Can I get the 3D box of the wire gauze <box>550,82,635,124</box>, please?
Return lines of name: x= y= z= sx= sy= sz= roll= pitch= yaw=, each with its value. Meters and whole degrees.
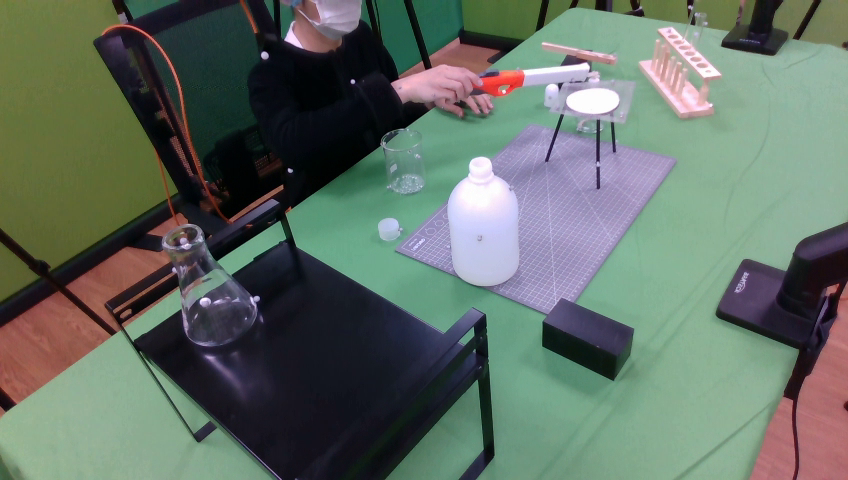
wire gauze: x=0.285 y=-0.236 z=1.020 sx=0.124 sy=0.011 sz=0.121 roll=10 pitch=44 yaw=22

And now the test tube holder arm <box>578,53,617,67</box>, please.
test tube holder arm: x=0.376 y=-0.393 z=1.314 sx=0.087 sy=0.015 sz=0.010 roll=26 pitch=51 yaw=32

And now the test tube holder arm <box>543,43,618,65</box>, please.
test tube holder arm: x=0.345 y=-0.413 z=1.341 sx=0.177 sy=0.015 sz=0.013 roll=25 pitch=50 yaw=31

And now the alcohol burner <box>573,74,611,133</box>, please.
alcohol burner: x=0.330 y=-0.270 z=1.177 sx=0.078 sy=0.119 sz=0.077 roll=-4 pitch=43 yaw=4

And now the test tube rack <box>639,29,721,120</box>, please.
test tube rack: x=0.527 y=-0.351 z=1.262 sx=0.067 sy=0.085 sz=0.241 roll=-8 pitch=40 yaw=1

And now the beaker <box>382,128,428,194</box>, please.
beaker: x=-0.030 y=-0.142 z=1.095 sx=0.073 sy=0.101 sz=0.084 roll=14 pitch=44 yaw=23

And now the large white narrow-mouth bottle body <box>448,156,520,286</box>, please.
large white narrow-mouth bottle body: x=0.086 y=-0.032 z=0.869 sx=0.102 sy=0.195 sz=0.101 roll=-4 pitch=40 yaw=4

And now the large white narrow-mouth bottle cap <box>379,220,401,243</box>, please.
large white narrow-mouth bottle cap: x=-0.057 y=-0.015 z=1.011 sx=0.038 sy=0.024 sz=0.037 roll=-4 pitch=40 yaw=4

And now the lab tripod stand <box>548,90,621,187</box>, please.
lab tripod stand: x=0.289 y=-0.184 z=1.062 sx=0.148 sy=0.132 sz=0.147 roll=-6 pitch=41 yaw=6

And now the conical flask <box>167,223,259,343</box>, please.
conical flask: x=-0.220 y=0.041 z=0.613 sx=0.075 sy=0.122 sz=0.075 roll=-5 pitch=40 yaw=4

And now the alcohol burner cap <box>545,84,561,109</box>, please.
alcohol burner cap: x=0.274 y=-0.307 z=1.285 sx=0.034 sy=0.048 sz=0.033 roll=-5 pitch=42 yaw=5

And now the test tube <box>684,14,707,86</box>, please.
test tube: x=0.541 y=-0.379 z=1.216 sx=0.017 sy=0.151 sz=0.017 roll=-2 pitch=44 yaw=2

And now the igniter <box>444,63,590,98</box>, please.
igniter: x=0.170 y=-0.292 z=1.106 sx=0.277 sy=0.057 sz=0.025 roll=-10 pitch=51 yaw=-11

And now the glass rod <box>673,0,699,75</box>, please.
glass rod: x=0.541 y=-0.427 z=1.246 sx=0.008 sy=0.200 sz=0.008 roll=0 pitch=48 yaw=1
